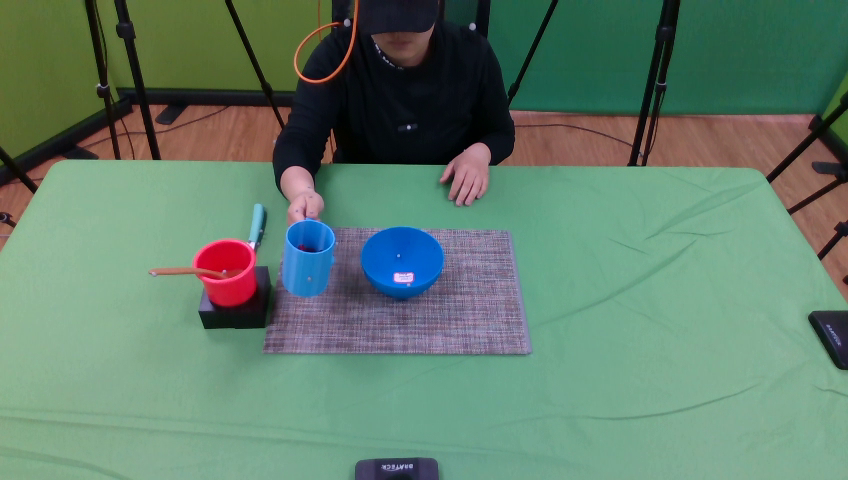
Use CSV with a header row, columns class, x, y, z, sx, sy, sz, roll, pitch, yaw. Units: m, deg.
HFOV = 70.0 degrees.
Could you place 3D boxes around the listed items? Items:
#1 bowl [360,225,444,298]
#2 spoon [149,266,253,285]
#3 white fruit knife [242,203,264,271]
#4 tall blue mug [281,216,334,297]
class,x,y,z,sx,sy,sz,roll,pitch,yaw
bowl,-0.040,0.053,1.099,0.151,0.077,0.150,2,46,-2
spoon,-0.351,0.052,0.968,0.041,0.021,0.194,41,12,28
white fruit knife,-0.334,0.000,1.178,0.027,0.016,0.206,-18,46,16
tall blue mug,-0.199,0.019,0.993,0.078,0.108,0.106,-19,55,-32
